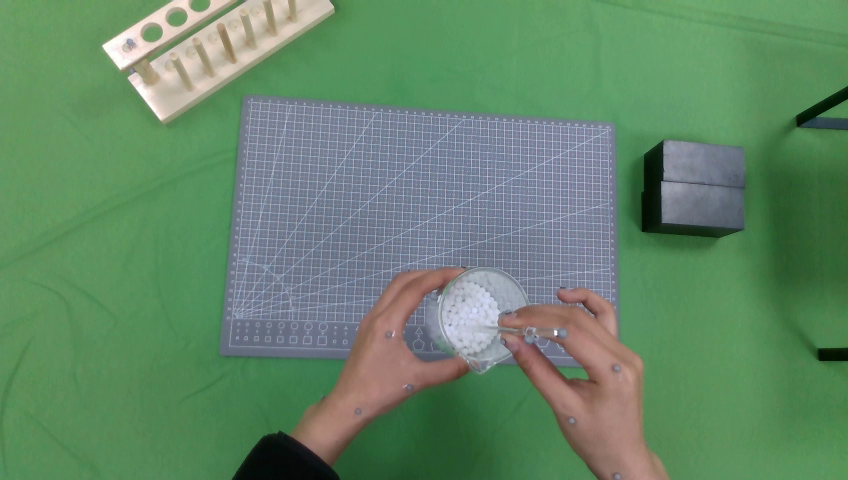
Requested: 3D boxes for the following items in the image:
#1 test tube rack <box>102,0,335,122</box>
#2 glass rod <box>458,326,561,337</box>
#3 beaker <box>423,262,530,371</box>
[{"bbox_3d":[-0.218,-0.240,0.677,0.242,0.085,0.066,-38,85,-11],"label":"test tube rack"},{"bbox_3d":[0.055,0.067,0.446,0.008,0.199,0.008,2,82,-13],"label":"glass rod"},{"bbox_3d":[0.039,0.066,0.510,0.074,0.100,0.083,6,80,-7],"label":"beaker"}]
